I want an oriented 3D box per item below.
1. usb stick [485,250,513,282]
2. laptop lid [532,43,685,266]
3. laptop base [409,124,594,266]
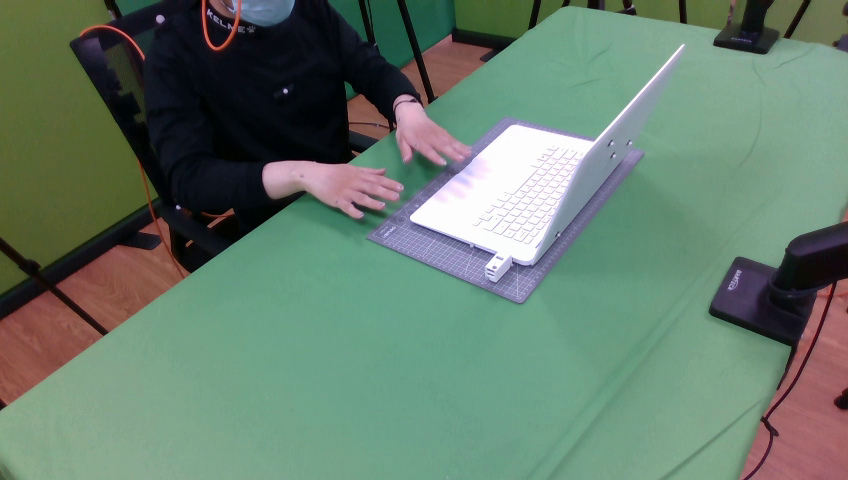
[{"bbox_3d":[0.116,0.034,0.895,0.021,0.027,0.059,22,47,32],"label":"usb stick"},{"bbox_3d":[0.280,-0.130,0.907,0.013,0.242,0.357,34,52,17],"label":"laptop lid"},{"bbox_3d":[0.168,-0.094,1.056,0.233,0.023,0.355,20,47,32],"label":"laptop base"}]
